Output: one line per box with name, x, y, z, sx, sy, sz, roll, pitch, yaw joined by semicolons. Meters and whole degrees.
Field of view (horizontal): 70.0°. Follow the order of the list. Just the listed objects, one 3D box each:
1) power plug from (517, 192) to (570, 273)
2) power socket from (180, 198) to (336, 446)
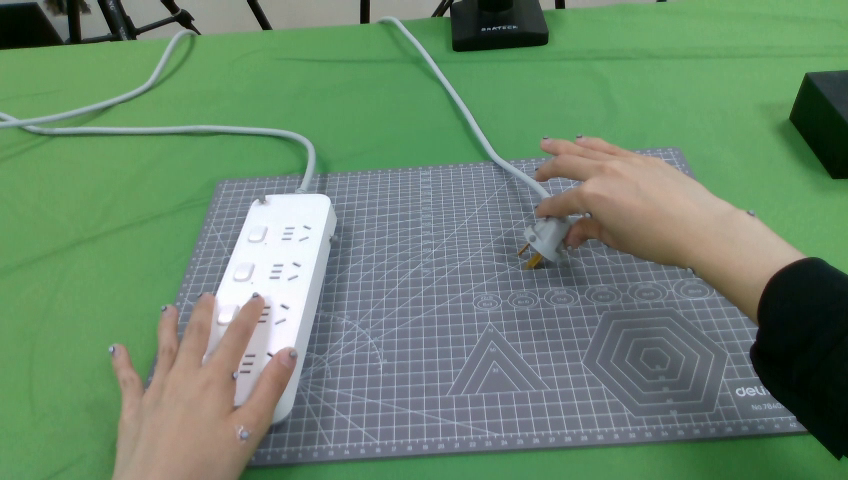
power plug;0.098;-0.003;0.490;0.035;0.053;0.072;38;24;3
power socket;-0.119;0.045;0.465;0.072;0.033;0.224;0;44;5
